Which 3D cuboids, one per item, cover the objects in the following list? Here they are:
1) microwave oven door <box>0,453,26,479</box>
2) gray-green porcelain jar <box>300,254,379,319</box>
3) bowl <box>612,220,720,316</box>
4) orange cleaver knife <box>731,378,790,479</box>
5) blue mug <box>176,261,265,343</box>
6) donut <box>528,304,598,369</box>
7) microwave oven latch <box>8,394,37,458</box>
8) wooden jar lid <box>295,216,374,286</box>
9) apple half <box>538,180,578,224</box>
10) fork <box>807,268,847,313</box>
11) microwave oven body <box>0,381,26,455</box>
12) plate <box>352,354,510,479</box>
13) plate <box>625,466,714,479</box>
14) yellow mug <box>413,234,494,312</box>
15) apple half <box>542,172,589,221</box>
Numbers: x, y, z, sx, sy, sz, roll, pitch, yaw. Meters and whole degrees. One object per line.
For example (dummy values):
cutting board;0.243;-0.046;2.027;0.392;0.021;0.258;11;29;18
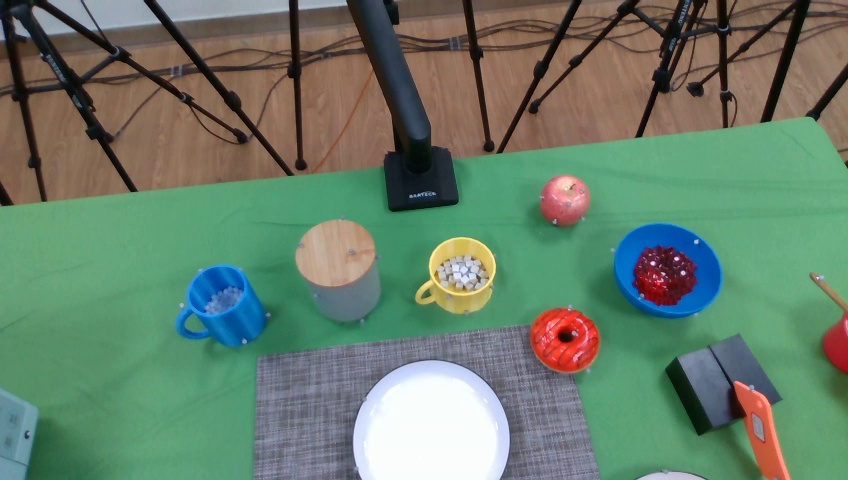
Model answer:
microwave oven door;-0.519;0.380;0.603;0.039;0.246;0.352;-6;59;-3
gray-green porcelain jar;-0.121;0.050;0.883;0.106;0.127;0.105;0;59;1
bowl;0.348;0.054;0.901;0.151;0.077;0.150;0;60;1
orange cleaver knife;0.437;0.278;0.763;0.012;0.077;0.210;-17;84;-5
blue mug;-0.296;0.098;0.868;0.116;0.107;0.081;-29;63;-15
donut;0.199;0.138;0.869;0.099;0.048;0.098;0;60;1
microwave oven latch;-0.538;0.246;0.801;0.030;0.030;0.078;-3;60;-1
wooden jar lid;-0.122;0.017;0.830;0.108;0.021;0.107;-1;57;1
apple half;0.206;-0.052;0.967;0.033;0.082;0.080;-34;64;-23
fork;0.578;0.101;0.828;0.209;0.018;0.028;41;59;-24
microwave oven body;-0.668;0.361;0.622;0.326;0.262;0.437;-6;60;-3
plate;0.009;0.256;0.805;0.208;0.039;0.205;0;60;1
plate;0.307;0.383;0.729;0.209;0.038;0.207;0;59;1
yellow mug;0.041;0.057;0.912;0.131;0.064;0.099;-27;63;-14
apple half;0.235;-0.074;0.982;0.053;0.075;0.080;-33;60;-23
